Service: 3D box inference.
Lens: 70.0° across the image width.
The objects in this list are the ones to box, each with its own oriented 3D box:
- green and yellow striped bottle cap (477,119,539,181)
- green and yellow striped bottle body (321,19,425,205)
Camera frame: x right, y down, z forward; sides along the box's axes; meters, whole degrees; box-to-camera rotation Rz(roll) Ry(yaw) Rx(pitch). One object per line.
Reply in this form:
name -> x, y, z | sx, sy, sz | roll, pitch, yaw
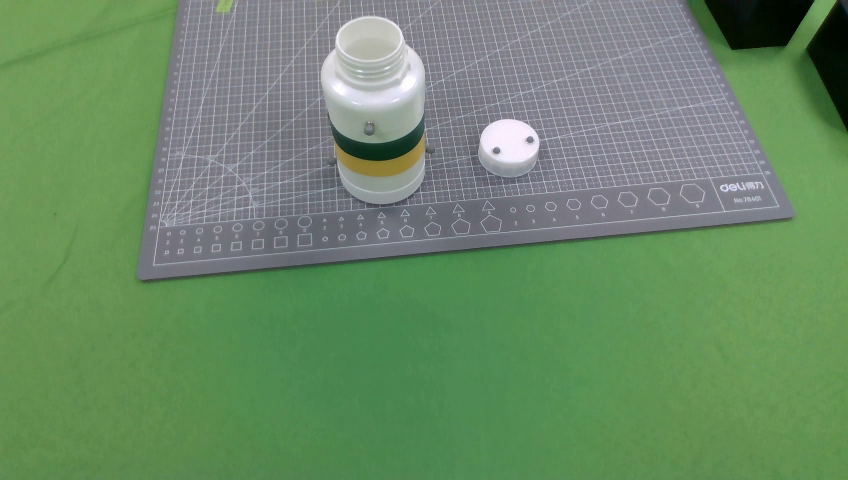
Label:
green and yellow striped bottle cap -> 0.061, -0.067, 0.446 | 0.045, 0.020, 0.045 | 1, 60, -1
green and yellow striped bottle body -> -0.031, -0.081, 0.390 | 0.063, 0.120, 0.062 | 0, 58, 0
